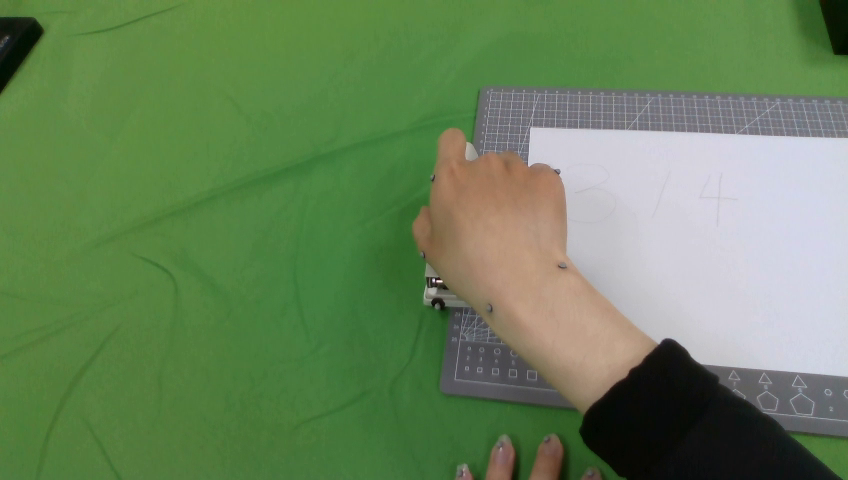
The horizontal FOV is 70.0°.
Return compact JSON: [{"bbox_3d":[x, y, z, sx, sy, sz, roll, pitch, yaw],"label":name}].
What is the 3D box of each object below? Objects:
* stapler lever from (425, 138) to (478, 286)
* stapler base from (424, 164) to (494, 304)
[{"bbox_3d":[0.021,-0.024,0.454,0.026,0.040,0.117,0,59,20],"label":"stapler lever"},{"bbox_3d":[0.027,-0.012,0.475,0.041,0.025,0.129,0,59,19],"label":"stapler base"}]
